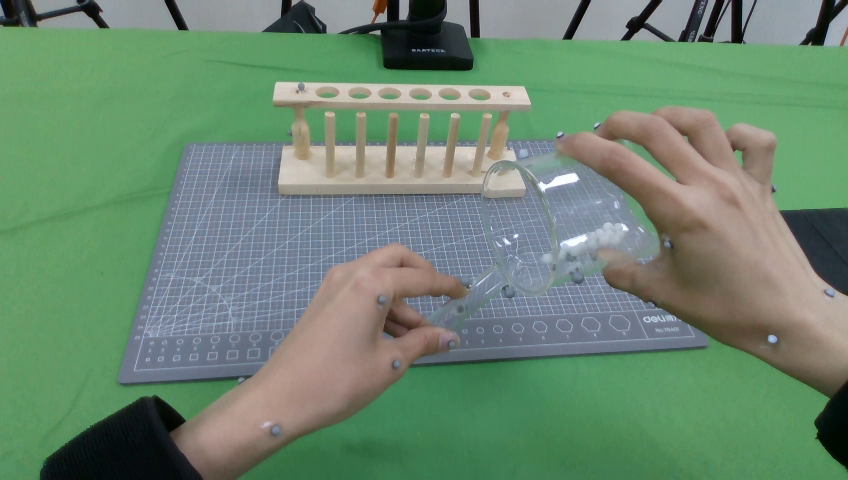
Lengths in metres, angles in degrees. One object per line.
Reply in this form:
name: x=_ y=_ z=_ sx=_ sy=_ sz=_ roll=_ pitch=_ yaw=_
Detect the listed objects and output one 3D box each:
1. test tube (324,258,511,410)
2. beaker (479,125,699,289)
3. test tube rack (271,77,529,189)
test tube: x=-0.008 y=0.061 z=0.375 sx=0.150 sy=0.017 sz=0.017 roll=-40 pitch=44 yaw=17
beaker: x=0.091 y=-0.020 z=0.337 sx=0.100 sy=0.084 sz=0.073 roll=-16 pitch=59 yaw=-19
test tube rack: x=-0.022 y=-0.104 z=0.595 sx=0.243 sy=0.086 sz=0.066 roll=-1 pitch=44 yaw=-7
